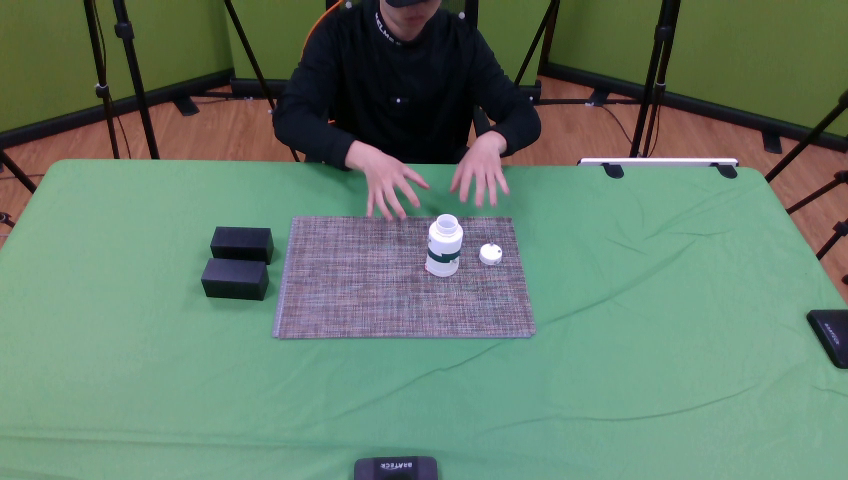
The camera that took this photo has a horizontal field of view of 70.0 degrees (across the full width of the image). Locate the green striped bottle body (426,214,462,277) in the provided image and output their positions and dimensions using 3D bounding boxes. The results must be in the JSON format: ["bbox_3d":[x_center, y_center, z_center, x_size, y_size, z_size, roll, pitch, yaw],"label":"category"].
[{"bbox_3d":[0.037,0.008,1.121,0.063,0.120,0.063,2,46,-2],"label":"green striped bottle body"}]

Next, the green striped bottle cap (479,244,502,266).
[{"bbox_3d":[0.130,0.029,1.181,0.044,0.020,0.044,0,46,0],"label":"green striped bottle cap"}]
